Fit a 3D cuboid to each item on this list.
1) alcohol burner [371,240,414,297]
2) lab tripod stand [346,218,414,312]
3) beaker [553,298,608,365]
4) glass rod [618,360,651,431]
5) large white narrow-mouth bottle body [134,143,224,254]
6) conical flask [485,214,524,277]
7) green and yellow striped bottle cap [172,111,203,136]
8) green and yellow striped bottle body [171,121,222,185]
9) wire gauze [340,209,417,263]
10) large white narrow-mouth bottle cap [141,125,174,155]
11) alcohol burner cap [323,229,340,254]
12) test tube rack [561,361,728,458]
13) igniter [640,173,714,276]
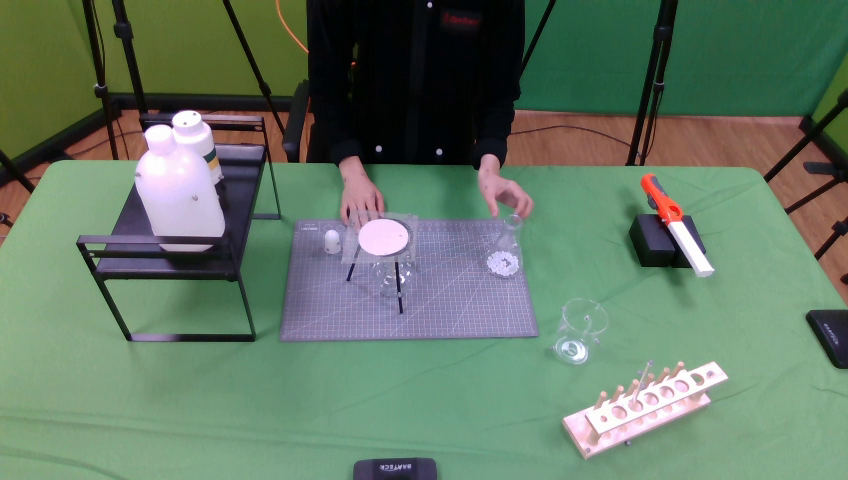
[{"bbox_3d":[-0.057,0.046,1.082,0.078,0.120,0.077,0,46,0],"label":"alcohol burner"},{"bbox_3d":[-0.070,0.037,1.075,0.148,0.132,0.147,1,47,-1],"label":"lab tripod stand"},{"bbox_3d":[0.260,0.154,1.015,0.073,0.101,0.084,37,54,27],"label":"beaker"},{"bbox_3d":[0.298,0.227,0.865,0.008,0.201,0.008,-2,48,2],"label":"glass rod"},{"bbox_3d":[-0.358,-0.075,0.875,0.102,0.195,0.101,1,48,-1],"label":"large white narrow-mouth bottle body"},{"bbox_3d":[0.157,0.007,1.129,0.075,0.122,0.075,2,46,-2],"label":"conical flask"},{"bbox_3d":[-0.374,-0.185,0.958,0.045,0.020,0.045,4,46,-3],"label":"green and yellow striped bottle cap"},{"bbox_3d":[-0.375,-0.149,0.995,0.063,0.120,0.063,2,46,-2],"label":"green and yellow striped bottle body"},{"bbox_3d":[-0.074,-0.007,1.023,0.121,0.011,0.124,3,46,0],"label":"wire gauze"},{"bbox_3d":[-0.356,-0.134,0.810,0.038,0.024,0.037,2,48,-2],"label":"large white narrow-mouth bottle cap"},{"bbox_3d":[-0.179,0.001,1.165,0.034,0.048,0.033,2,45,-2],"label":"alcohol burner cap"},{"bbox_3d":[0.341,0.248,0.940,0.243,0.085,0.066,-15,49,-18],"label":"test tube rack"},{"bbox_3d":[0.495,-0.039,1.204,0.057,0.025,0.274,-2,47,-12],"label":"igniter"}]
